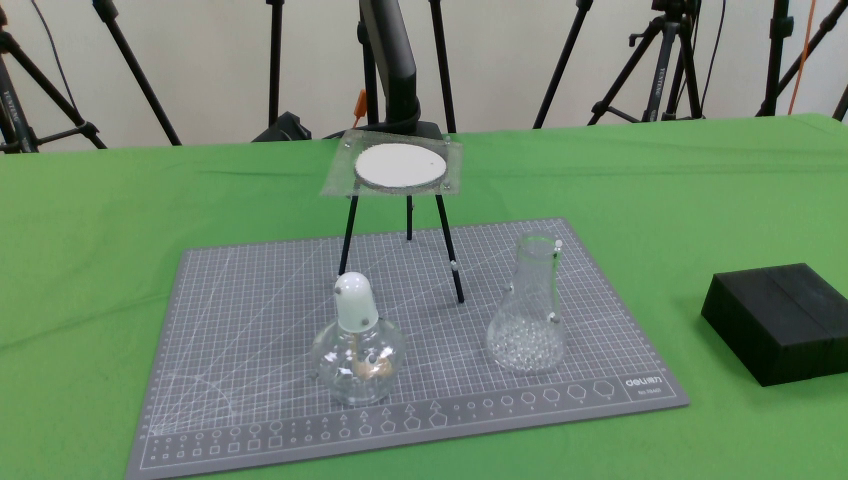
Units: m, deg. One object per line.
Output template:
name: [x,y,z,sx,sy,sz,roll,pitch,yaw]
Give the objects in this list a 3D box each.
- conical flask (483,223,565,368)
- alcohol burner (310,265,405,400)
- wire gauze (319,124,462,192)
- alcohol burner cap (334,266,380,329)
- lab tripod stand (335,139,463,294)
conical flask: [0.092,0.045,0.524,0.075,0.123,0.074,1,36,0]
alcohol burner: [-0.054,0.071,0.491,0.078,0.120,0.077,0,34,0]
wire gauze: [-0.026,-0.077,0.567,0.121,0.011,0.124,4,36,3]
alcohol burner cap: [-0.054,0.042,0.469,0.034,0.048,0.033,-4,39,3]
lab tripod stand: [-0.020,-0.022,0.606,0.148,0.132,0.147,2,35,-1]
